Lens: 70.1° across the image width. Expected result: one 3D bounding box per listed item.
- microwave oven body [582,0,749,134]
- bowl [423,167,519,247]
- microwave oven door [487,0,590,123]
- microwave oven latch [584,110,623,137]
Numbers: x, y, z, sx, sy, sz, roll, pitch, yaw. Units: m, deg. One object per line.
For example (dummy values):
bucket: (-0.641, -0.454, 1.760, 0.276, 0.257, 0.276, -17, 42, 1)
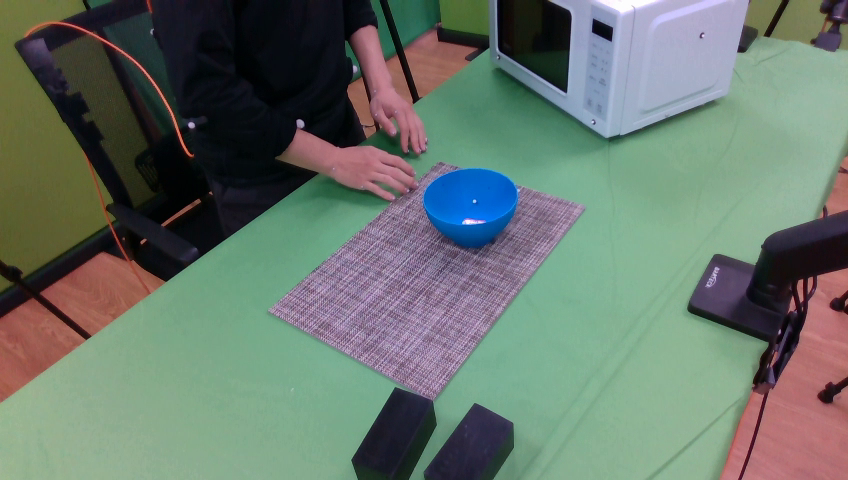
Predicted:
microwave oven body: (0.382, -0.445, 1.246, 0.327, 0.261, 0.437, -22, 42, -16)
bowl: (0.075, -0.041, 0.958, 0.151, 0.077, 0.150, -4, 40, 4)
microwave oven door: (0.232, -0.420, 1.231, 0.039, 0.245, 0.352, -22, 43, -16)
microwave oven latch: (0.337, -0.222, 1.142, 0.030, 0.029, 0.078, -21, 42, -14)
